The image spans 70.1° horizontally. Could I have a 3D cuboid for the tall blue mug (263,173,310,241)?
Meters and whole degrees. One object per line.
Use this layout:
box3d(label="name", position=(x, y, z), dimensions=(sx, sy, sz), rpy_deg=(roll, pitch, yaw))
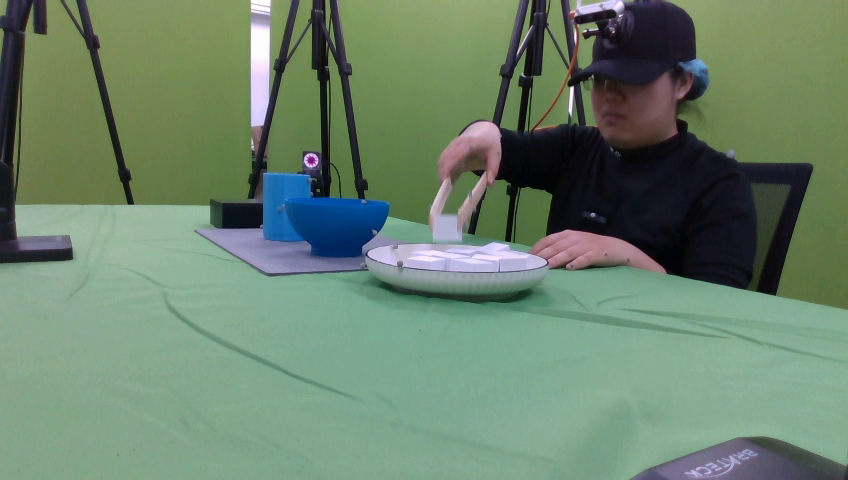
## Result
box3d(label="tall blue mug", position=(-0.233, -0.058, 1.019), dimensions=(0.078, 0.108, 0.107), rpy_deg=(-1, 8, -19))

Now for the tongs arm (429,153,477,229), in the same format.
box3d(label="tongs arm", position=(0.046, -0.083, 0.903), dimensions=(0.028, 0.028, 0.388), rpy_deg=(-6, 17, 13))

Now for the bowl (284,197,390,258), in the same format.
box3d(label="bowl", position=(-0.125, -0.018, 0.870), dimensions=(0.151, 0.077, 0.151), rpy_deg=(3, 7, 0))

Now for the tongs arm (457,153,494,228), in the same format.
box3d(label="tongs arm", position=(0.069, -0.084, 0.899), dimensions=(0.050, 0.026, 0.385), rpy_deg=(-2, 18, 16))

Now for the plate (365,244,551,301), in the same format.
box3d(label="plate", position=(0.038, 0.036, 0.685), dimensions=(0.209, 0.038, 0.209), rpy_deg=(2, 7, 0))
